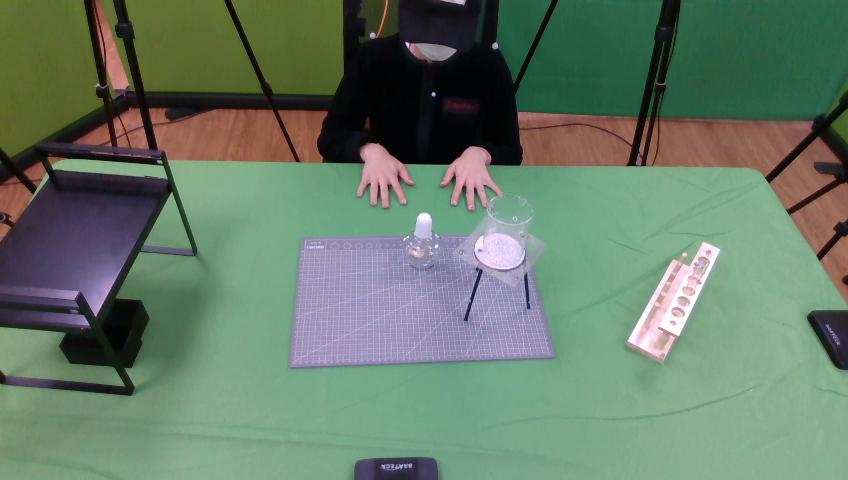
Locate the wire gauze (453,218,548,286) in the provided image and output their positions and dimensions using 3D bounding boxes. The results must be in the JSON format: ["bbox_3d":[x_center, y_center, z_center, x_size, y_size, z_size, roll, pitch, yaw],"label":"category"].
[{"bbox_3d":[0.129,0.014,1.019,0.124,0.011,0.121,26,47,25],"label":"wire gauze"}]

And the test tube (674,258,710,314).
[{"bbox_3d":[0.455,0.082,1.034,0.017,0.151,0.017,-1,50,1],"label":"test tube"}]

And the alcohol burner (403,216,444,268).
[{"bbox_3d":[-0.001,-0.004,1.132,0.078,0.120,0.077,1,46,0],"label":"alcohol burner"}]

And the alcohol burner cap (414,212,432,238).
[{"bbox_3d":[0.000,-0.030,1.107,0.034,0.048,0.033,4,41,-3],"label":"alcohol burner cap"}]

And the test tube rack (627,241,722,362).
[{"bbox_3d":[0.452,0.098,1.087,0.066,0.085,0.242,28,51,22],"label":"test tube rack"}]

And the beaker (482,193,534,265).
[{"bbox_3d":[0.135,-0.016,0.979,0.073,0.101,0.084,35,52,28],"label":"beaker"}]

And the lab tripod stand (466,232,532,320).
[{"bbox_3d":[0.125,0.059,1.065,0.148,0.132,0.147,1,45,0],"label":"lab tripod stand"}]
